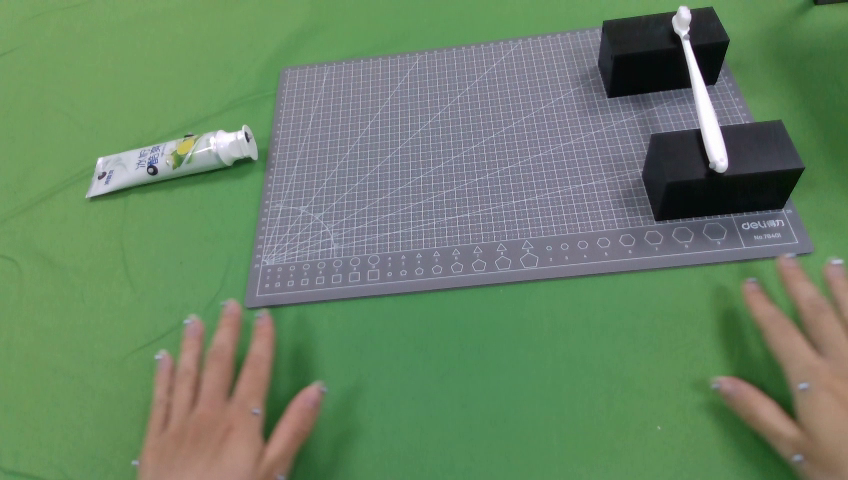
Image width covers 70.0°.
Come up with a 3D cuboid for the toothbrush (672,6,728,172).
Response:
[{"bbox_3d":[0.224,-0.129,0.492,0.014,0.017,0.180,5,58,-3],"label":"toothbrush"}]

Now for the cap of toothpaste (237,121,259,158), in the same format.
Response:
[{"bbox_3d":[-0.170,-0.096,0.583,0.011,0.038,0.037,-14,55,1],"label":"cap of toothpaste"}]

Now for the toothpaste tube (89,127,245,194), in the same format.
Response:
[{"bbox_3d":[-0.248,-0.083,0.593,0.165,0.035,0.054,-11,49,6],"label":"toothpaste tube"}]
